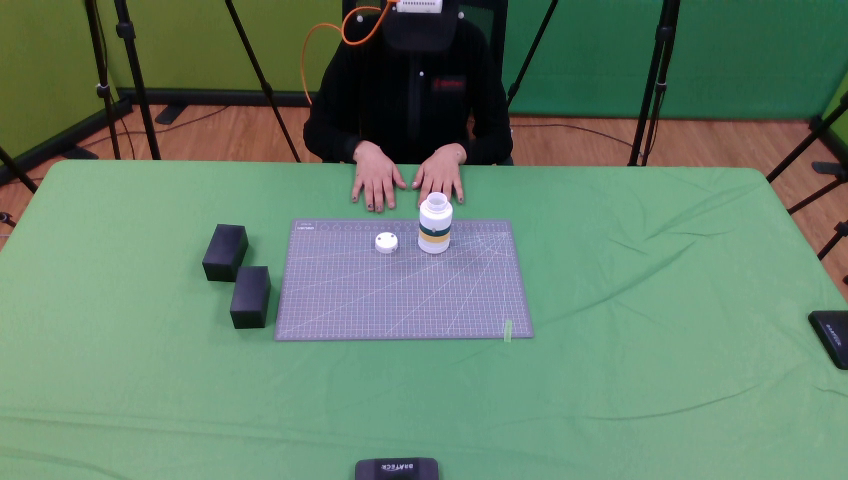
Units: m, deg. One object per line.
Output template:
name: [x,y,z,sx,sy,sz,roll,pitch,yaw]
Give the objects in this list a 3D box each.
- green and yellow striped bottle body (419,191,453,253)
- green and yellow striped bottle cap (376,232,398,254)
green and yellow striped bottle body: [0.022,-0.036,1.160,0.063,0.120,0.063,2,46,-2]
green and yellow striped bottle cap: [-0.073,0.005,1.187,0.045,0.020,0.045,2,45,-1]
